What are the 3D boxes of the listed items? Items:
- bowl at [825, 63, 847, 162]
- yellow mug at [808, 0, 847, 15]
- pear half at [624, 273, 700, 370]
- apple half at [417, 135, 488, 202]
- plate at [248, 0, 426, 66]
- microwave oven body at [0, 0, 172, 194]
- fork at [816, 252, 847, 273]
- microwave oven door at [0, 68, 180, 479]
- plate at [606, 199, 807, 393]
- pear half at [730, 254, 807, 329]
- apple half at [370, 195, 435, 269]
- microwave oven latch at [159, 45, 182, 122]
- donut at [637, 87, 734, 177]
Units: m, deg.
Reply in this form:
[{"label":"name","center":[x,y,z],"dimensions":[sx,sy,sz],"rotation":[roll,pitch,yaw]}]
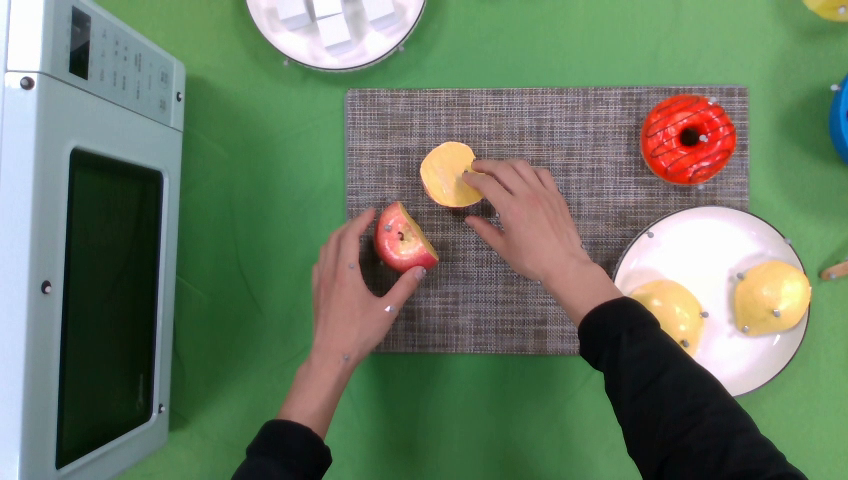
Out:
[{"label":"bowl","center":[0.485,-0.132,0.633],"dimensions":[0.151,0.077,0.151],"rotation":[0,91,3]},{"label":"yellow mug","center":[0.451,-0.312,0.638],"dimensions":[0.100,0.064,0.130],"rotation":[-32,88,3]},{"label":"pear half","center":[0.263,0.092,0.648],"dimensions":[0.076,0.056,0.110],"rotation":[-27,93,8]},{"label":"apple half","center":[0.026,-0.073,0.670],"dimensions":[0.081,0.033,0.081],"rotation":[4,74,-14]},{"label":"plate","center":[-0.095,-0.296,0.679],"dimensions":[0.207,0.039,0.207],"rotation":[0,90,3]},{"label":"microwave oven body","center":[-0.449,-0.004,0.584],"dimensions":[0.326,0.260,0.441],"rotation":[3,91,2]},{"label":"fork","center":[0.517,-0.012,0.627],"dimensions":[0.207,0.018,0.028],"rotation":[-29,97,23]},{"label":"microwave oven door","center":[-0.307,0.046,0.573],"dimensions":[0.039,0.244,0.355],"rotation":[3,90,3]},{"label":"plate","center":[0.302,0.059,0.660],"dimensions":[0.209,0.038,0.209],"rotation":[0,91,3]},{"label":"pear half","center":[0.361,0.057,0.642],"dimensions":[0.070,0.031,0.088],"rotation":[38,104,26]},{"label":"apple half","center":[-0.030,-0.002,0.658],"dimensions":[0.053,0.074,0.081],"rotation":[-34,94,6]},{"label":"microwave oven latch","center":[-0.287,-0.173,0.671],"dimensions":[0.030,0.029,0.079],"rotation":[6,91,2]},{"label":"donut","center":[0.281,-0.116,0.655],"dimensions":[0.099,0.048,0.099],"rotation":[0,91,6]}]
